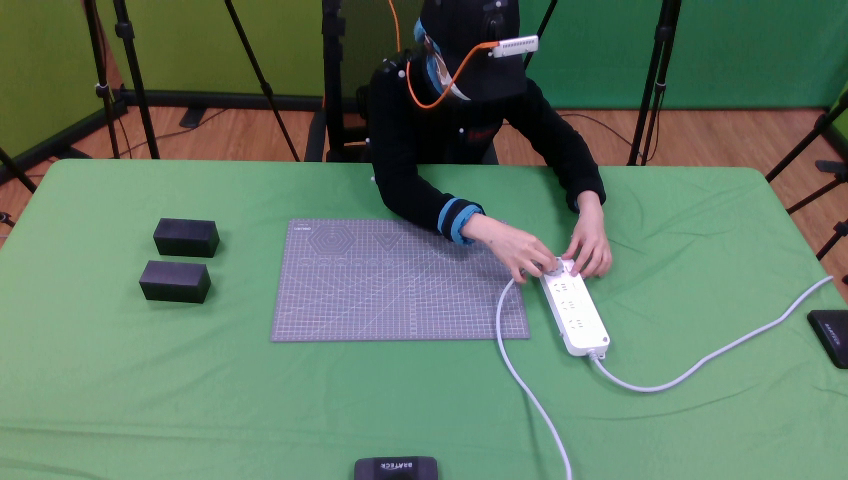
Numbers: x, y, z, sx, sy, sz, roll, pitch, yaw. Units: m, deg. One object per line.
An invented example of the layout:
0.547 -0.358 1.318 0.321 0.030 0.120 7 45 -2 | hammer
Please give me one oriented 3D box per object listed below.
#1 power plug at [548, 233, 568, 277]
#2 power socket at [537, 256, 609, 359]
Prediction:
0.243 0.031 1.109 0.035 0.073 0.052 -6 27 11 | power plug
0.266 0.115 1.097 0.072 0.033 0.225 -5 47 -8 | power socket
